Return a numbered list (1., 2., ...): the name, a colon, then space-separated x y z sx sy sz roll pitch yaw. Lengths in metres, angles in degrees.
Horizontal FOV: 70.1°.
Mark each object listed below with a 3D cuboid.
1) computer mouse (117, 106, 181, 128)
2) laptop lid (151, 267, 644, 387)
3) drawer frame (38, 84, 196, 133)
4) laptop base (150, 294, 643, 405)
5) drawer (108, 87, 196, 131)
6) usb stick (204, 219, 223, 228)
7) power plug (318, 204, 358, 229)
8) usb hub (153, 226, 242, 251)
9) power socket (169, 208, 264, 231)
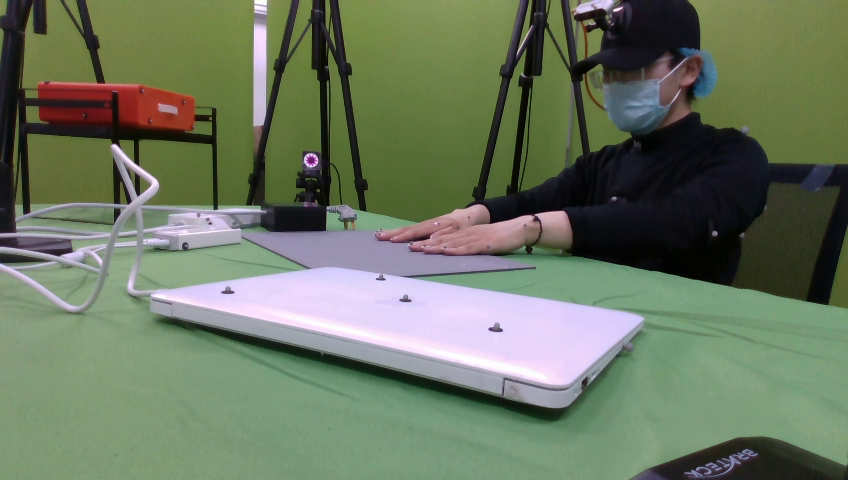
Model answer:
1. computer mouse: -0.566 -0.252 1.242 0.062 0.041 0.118 18 26 42
2. laptop lid: -0.018 0.054 0.507 0.355 0.013 0.243 7 6 31
3. drawer frame: -0.612 -0.265 1.229 0.213 0.082 0.202 3 8 7
4. laptop base: -0.019 0.066 0.507 0.353 0.023 0.236 6 5 30
5. drawer: -0.609 -0.264 1.229 0.211 0.073 0.194 3 8 9
6. usb stick: -0.346 -0.018 1.011 0.021 0.027 0.059 -43 -1 -8
7. power plug: -0.169 -0.044 1.208 0.072 0.052 0.035 -10 -13 -1
8. usb hub: -0.337 -0.003 0.907 0.049 0.025 0.125 6 9 28
9. power socket: -0.381 -0.038 1.128 0.072 0.032 0.227 4 8 16
